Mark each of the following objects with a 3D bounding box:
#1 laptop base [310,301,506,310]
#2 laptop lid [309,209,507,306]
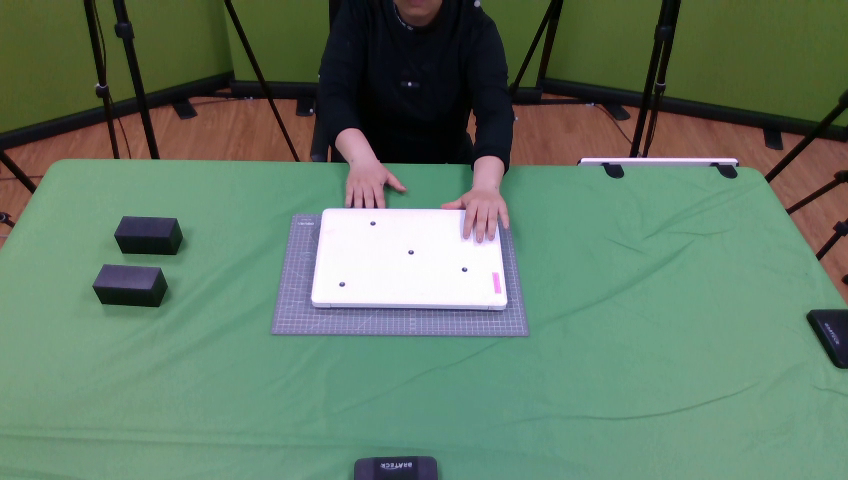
[{"bbox_3d":[-0.029,0.043,1.155,0.354,0.023,0.234,1,42,-3],"label":"laptop base"},{"bbox_3d":[-0.028,0.027,1.142,0.357,0.013,0.240,2,48,-2],"label":"laptop lid"}]
